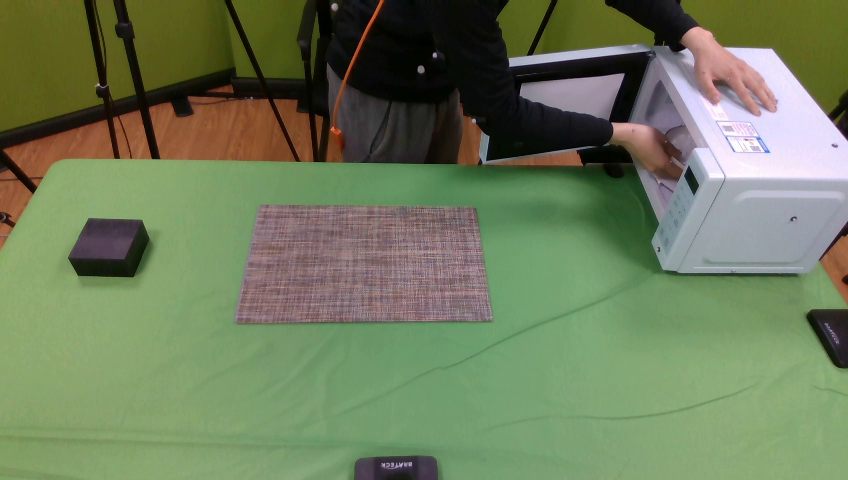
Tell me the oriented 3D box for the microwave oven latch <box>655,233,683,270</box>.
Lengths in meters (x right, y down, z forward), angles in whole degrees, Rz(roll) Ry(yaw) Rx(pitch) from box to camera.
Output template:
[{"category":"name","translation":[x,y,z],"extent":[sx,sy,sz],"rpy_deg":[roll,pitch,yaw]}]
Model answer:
[{"category":"microwave oven latch","translation":[0.473,0.021,1.176],"extent":[0.030,0.029,0.078],"rpy_deg":[2,46,-1]}]

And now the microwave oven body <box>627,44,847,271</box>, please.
[{"category":"microwave oven body","translation":[0.619,-0.173,1.234],"extent":[0.326,0.261,0.439],"rpy_deg":[0,46,-3]}]

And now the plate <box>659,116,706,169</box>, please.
[{"category":"plate","translation":[0.603,-0.192,1.293],"extent":[0.209,0.038,0.208],"rpy_deg":[3,45,-3]}]

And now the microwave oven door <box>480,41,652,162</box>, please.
[{"category":"microwave oven door","translation":[0.306,-0.301,1.328],"extent":[0.356,0.245,0.039],"rpy_deg":[-10,48,-13]}]
